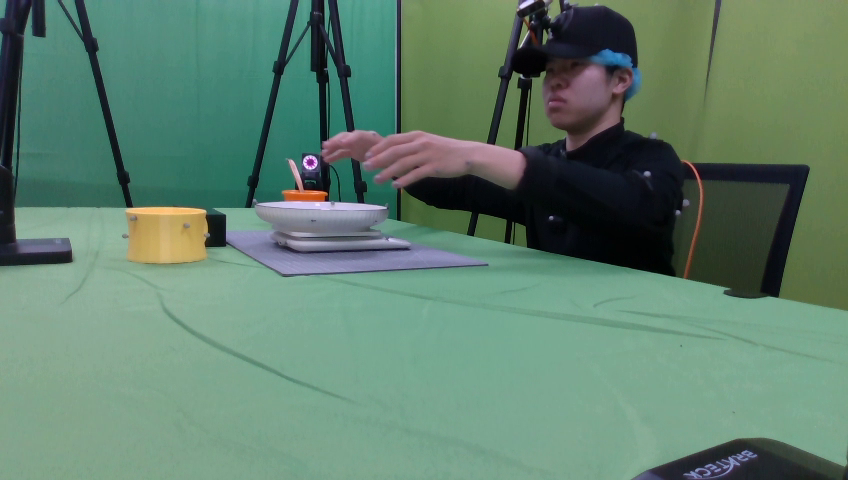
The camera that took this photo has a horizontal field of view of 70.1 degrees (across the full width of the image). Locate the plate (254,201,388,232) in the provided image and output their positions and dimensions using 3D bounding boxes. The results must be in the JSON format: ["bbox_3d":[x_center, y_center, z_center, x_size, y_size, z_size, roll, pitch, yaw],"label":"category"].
[{"bbox_3d":[-0.161,-0.038,0.961,0.209,0.038,0.209,2,6,0],"label":"plate"}]

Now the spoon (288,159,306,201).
[{"bbox_3d":[-0.259,-0.103,1.268,0.042,0.193,0.021,3,-39,-34],"label":"spoon"}]

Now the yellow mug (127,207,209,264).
[{"bbox_3d":[-0.339,-0.010,0.827,0.100,0.064,0.131,5,7,17],"label":"yellow mug"}]

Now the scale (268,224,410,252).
[{"bbox_3d":[-0.137,-0.006,0.980,0.202,0.031,0.148,-1,9,-30],"label":"scale"}]
